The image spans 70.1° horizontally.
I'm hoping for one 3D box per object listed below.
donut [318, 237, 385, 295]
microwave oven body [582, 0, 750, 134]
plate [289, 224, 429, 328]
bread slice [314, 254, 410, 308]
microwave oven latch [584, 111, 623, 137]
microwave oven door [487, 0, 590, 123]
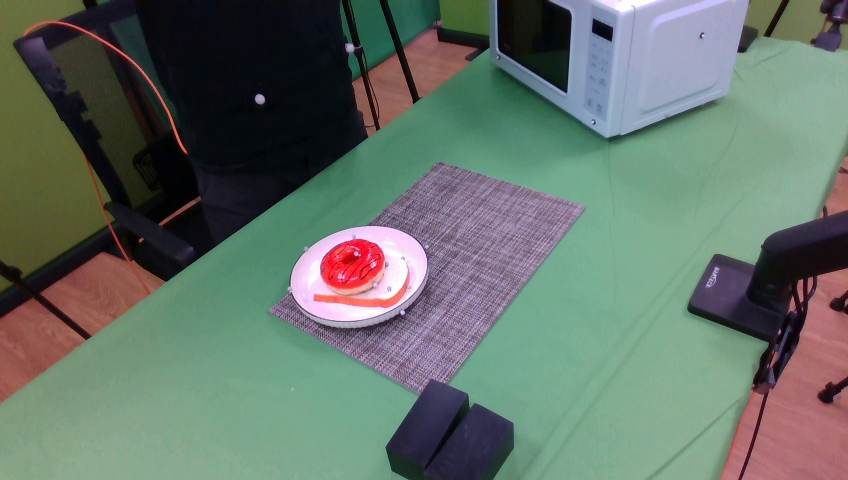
[{"bbox_3d":[-0.105,0.037,0.880,0.099,0.048,0.098,-6,42,6],"label":"donut"},{"bbox_3d":[0.382,-0.444,1.246,0.327,0.261,0.437,-22,42,-16],"label":"microwave oven body"},{"bbox_3d":[-0.094,0.055,0.902,0.207,0.039,0.206,-4,41,4],"label":"plate"},{"bbox_3d":[-0.087,0.057,0.900,0.131,0.019,0.104,5,43,15],"label":"bread slice"},{"bbox_3d":[0.337,-0.222,1.142,0.030,0.029,0.078,-21,42,-14],"label":"microwave oven latch"},{"bbox_3d":[0.232,-0.420,1.231,0.039,0.245,0.352,-22,43,-16],"label":"microwave oven door"}]
